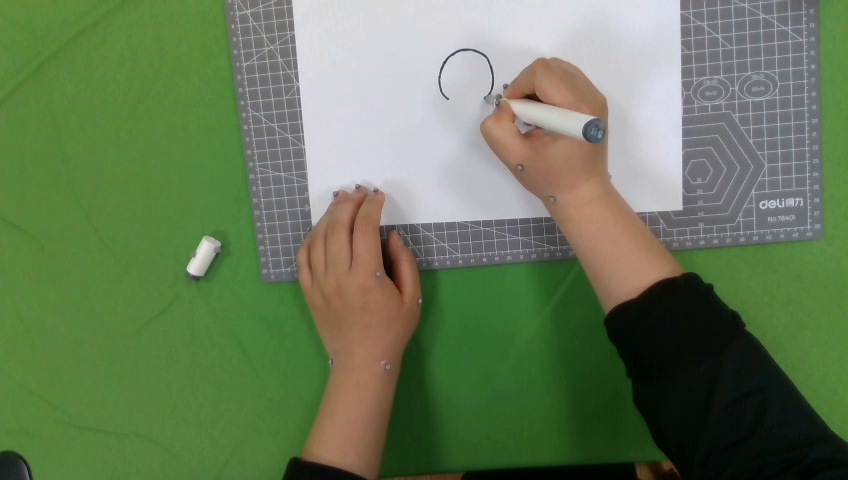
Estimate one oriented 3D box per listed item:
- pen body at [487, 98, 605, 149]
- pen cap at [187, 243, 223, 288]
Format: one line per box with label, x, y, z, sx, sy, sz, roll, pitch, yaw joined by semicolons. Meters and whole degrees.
pen body;0.076;-0.084;0.419;0.017;0.142;0.017;-9;113;-20
pen cap;-0.186;0.022;0.512;0.017;0.017;0.038;33;98;2
